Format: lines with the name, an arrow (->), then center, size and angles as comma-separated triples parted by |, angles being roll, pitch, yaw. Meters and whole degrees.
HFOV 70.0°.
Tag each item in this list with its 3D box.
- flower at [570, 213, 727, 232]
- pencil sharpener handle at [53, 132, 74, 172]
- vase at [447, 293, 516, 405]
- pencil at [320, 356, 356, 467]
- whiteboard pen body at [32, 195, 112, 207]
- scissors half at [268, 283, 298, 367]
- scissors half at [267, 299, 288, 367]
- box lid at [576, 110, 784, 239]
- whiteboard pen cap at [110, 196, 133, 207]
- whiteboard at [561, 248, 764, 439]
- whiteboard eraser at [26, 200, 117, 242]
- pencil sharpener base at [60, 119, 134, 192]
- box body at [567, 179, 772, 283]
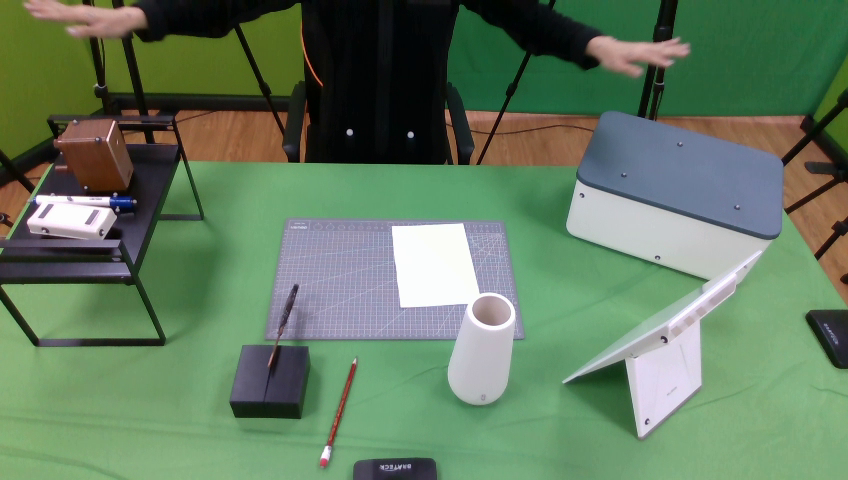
flower -> 0.479, -0.039, 1.270 | 0.362, 0.038, 0.044 | -1, 15, -13
pencil sharpener handle -> -0.578, -0.138, 0.961 | 0.031, 0.068, 0.036 | -4, 34, -7
vase -> 0.091, 0.169, 0.921 | 0.098, 0.201, 0.097 | 3, 47, -3
pencil -> -0.130, 0.261, 0.946 | 0.012, 0.012, 0.193 | 10, 45, 5
whiteboard pen body -> -0.543, -0.061, 0.961 | 0.141, 0.017, 0.017 | 1, 46, -10
scissors half -> -0.230, 0.135, 0.986 | 0.013, 0.040, 0.174 | 19, 43, -11
scissors half -> -0.239, 0.150, 0.997 | 0.013, 0.040, 0.174 | 24, 24, -13
box lid -> 0.498, -0.137, 1.167 | 0.371, 0.015, 0.262 | 19, 48, 14
whiteboard pen cap -> -0.486, -0.061, 0.972 | 0.033, 0.018, 0.018 | 0, 46, -9
whiteboard -> 0.386, 0.176, 0.905 | 0.217, 0.306, 0.143 | -26, 72, -27
whiteboard eraser -> -0.532, -0.026, 0.919 | 0.113, 0.042, 0.055 | 7, 45, 3
pencil sharpener base -> -0.528, -0.135, 0.979 | 0.077, 0.107, 0.061 | -4, 47, -7
box body -> 0.493, -0.086, 1.220 | 0.363, 0.161, 0.253 | 19, 48, 14
